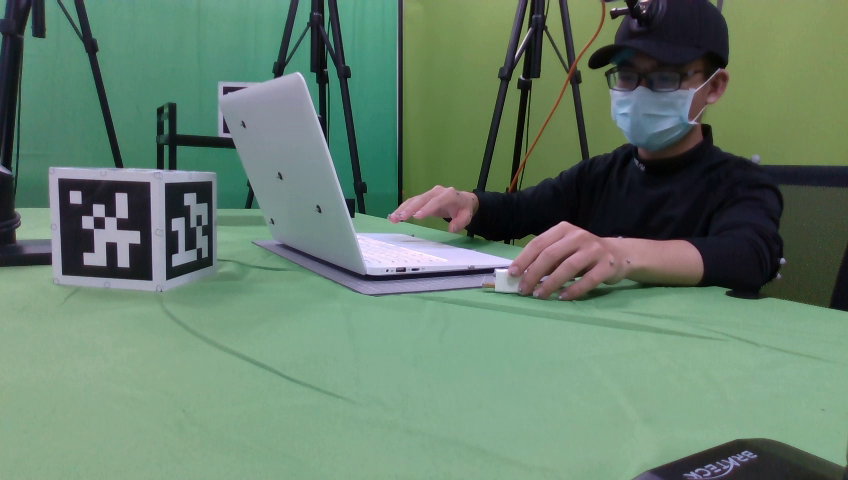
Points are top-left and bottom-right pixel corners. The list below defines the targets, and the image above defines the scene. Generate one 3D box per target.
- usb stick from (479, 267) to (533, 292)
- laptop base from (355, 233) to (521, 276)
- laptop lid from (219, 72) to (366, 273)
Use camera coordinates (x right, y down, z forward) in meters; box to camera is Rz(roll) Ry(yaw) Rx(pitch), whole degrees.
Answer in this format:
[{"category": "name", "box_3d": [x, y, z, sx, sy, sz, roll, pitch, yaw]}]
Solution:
[{"category": "usb stick", "box_3d": [0.092, 0.045, 0.684, 0.059, 0.027, 0.021, 0, 6, 0]}, {"category": "laptop base", "box_3d": [-0.056, 0.018, 0.897, 0.237, 0.023, 0.352, 2, 6, -32]}, {"category": "laptop lid", "box_3d": [-0.189, -0.087, 0.800, 0.013, 0.242, 0.355, -26, 21, -26]}]
